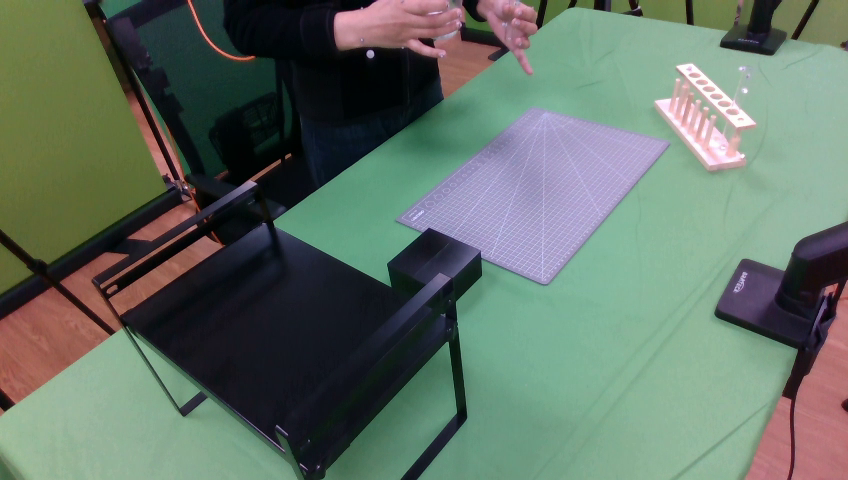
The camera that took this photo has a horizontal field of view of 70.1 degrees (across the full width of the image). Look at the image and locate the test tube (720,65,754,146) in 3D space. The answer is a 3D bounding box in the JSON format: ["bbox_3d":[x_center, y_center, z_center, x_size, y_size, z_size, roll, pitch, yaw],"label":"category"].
[{"bbox_3d":[0.533,-0.226,1.032,0.017,0.151,0.017,-2,40,2],"label":"test tube"}]

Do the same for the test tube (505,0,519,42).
[{"bbox_3d":[0.148,-0.393,0.992,0.017,0.151,0.017,1,51,0],"label":"test tube"}]

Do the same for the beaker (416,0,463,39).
[{"bbox_3d":[0.026,-0.377,0.950,0.074,0.100,0.083,5,45,-4],"label":"beaker"}]

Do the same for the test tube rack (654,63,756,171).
[{"bbox_3d":[0.510,-0.233,1.120,0.067,0.085,0.241,-8,41,-1],"label":"test tube rack"}]
